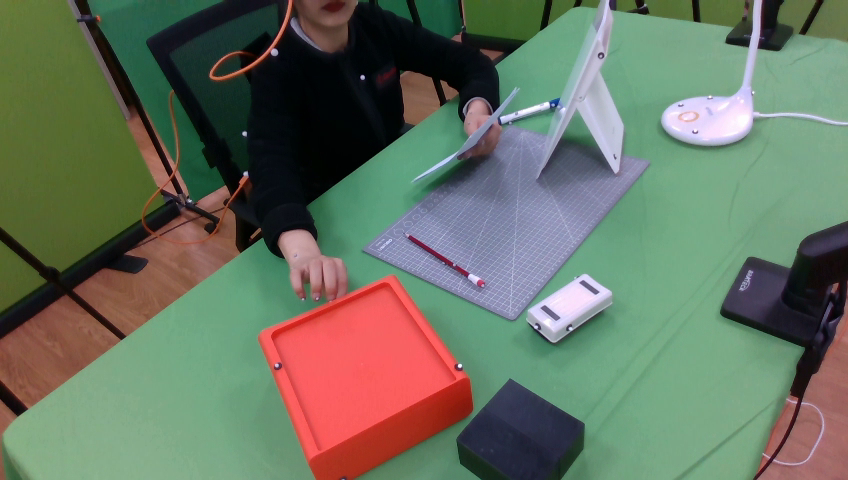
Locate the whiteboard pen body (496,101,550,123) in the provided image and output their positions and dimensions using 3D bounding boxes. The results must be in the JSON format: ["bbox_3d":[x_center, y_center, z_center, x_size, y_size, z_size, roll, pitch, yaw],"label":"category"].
[{"bbox_3d":[0.217,-0.269,1.255,0.141,0.017,0.017,-18,41,-5],"label":"whiteboard pen body"}]

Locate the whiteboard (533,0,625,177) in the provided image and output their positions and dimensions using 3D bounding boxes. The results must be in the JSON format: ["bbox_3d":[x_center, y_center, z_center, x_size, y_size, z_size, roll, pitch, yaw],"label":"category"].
[{"bbox_3d":[0.321,-0.258,1.049,0.144,0.306,0.217,20,45,4],"label":"whiteboard"}]

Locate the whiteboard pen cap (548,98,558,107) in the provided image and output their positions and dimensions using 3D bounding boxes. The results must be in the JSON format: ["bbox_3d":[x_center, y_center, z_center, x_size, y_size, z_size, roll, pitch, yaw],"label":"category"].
[{"bbox_3d":[0.273,-0.287,1.259,0.033,0.018,0.018,-12,40,-8],"label":"whiteboard pen cap"}]

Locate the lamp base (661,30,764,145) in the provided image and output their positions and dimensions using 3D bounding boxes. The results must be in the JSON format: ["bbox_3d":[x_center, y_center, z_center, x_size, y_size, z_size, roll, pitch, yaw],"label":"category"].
[{"bbox_3d":[0.535,-0.287,1.096,0.179,0.181,0.159,-10,40,-4],"label":"lamp base"}]

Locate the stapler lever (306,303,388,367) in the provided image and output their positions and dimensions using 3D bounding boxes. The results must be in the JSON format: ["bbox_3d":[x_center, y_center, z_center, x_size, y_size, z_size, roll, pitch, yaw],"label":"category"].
[{"bbox_3d":[-0.102,0.123,0.799,0.118,0.040,0.026,-26,29,-17],"label":"stapler lever"}]

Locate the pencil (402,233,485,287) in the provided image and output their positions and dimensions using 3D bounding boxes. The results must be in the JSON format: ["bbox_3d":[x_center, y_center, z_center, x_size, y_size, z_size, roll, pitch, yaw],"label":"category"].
[{"bbox_3d":[0.026,0.027,0.949,0.012,0.012,0.192,-34,44,-26],"label":"pencil"}]

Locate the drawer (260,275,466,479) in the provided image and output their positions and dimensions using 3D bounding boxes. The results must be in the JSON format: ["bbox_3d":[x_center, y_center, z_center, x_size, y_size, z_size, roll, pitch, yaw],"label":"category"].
[{"bbox_3d":[-0.080,0.162,0.759,0.195,0.073,0.210,-22,42,-16],"label":"drawer"}]

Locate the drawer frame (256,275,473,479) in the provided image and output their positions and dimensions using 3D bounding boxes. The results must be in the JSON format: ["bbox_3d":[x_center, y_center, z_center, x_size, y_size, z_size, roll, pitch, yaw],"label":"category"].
[{"bbox_3d":[-0.078,0.163,0.756,0.202,0.083,0.211,-23,43,-17],"label":"drawer frame"}]

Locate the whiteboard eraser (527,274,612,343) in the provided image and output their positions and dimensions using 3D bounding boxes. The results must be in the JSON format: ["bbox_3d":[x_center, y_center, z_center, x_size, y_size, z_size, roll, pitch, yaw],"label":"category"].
[{"bbox_3d":[0.198,0.094,0.820,0.113,0.042,0.055,-29,43,-22],"label":"whiteboard eraser"}]

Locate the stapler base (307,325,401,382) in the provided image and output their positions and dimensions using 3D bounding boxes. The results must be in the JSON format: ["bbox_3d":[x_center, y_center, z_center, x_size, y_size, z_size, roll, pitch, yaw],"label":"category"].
[{"bbox_3d":[-0.095,0.144,0.812,0.131,0.024,0.041,-25,29,-18],"label":"stapler base"}]
